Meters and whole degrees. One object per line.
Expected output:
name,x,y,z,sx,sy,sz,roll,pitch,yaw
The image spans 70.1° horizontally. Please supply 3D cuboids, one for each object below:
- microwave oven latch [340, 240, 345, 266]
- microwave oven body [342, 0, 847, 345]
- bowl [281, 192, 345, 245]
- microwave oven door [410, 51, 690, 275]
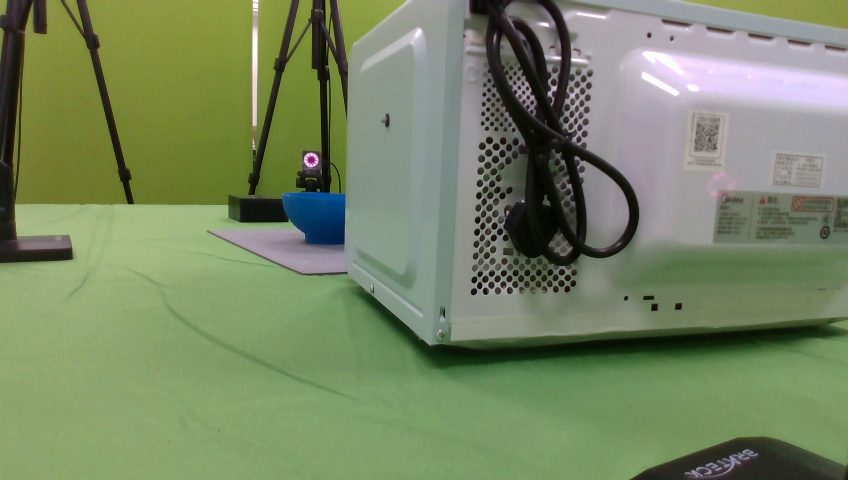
microwave oven latch,-0.052,0.016,0.662,0.079,0.029,0.030,1,7,-19
microwave oven body,0.169,-0.060,0.573,0.444,0.260,0.324,1,7,-20
bowl,-0.158,-0.035,0.991,0.151,0.077,0.151,3,7,0
microwave oven door,0.161,-0.084,0.723,0.357,0.243,0.039,0,8,-20
